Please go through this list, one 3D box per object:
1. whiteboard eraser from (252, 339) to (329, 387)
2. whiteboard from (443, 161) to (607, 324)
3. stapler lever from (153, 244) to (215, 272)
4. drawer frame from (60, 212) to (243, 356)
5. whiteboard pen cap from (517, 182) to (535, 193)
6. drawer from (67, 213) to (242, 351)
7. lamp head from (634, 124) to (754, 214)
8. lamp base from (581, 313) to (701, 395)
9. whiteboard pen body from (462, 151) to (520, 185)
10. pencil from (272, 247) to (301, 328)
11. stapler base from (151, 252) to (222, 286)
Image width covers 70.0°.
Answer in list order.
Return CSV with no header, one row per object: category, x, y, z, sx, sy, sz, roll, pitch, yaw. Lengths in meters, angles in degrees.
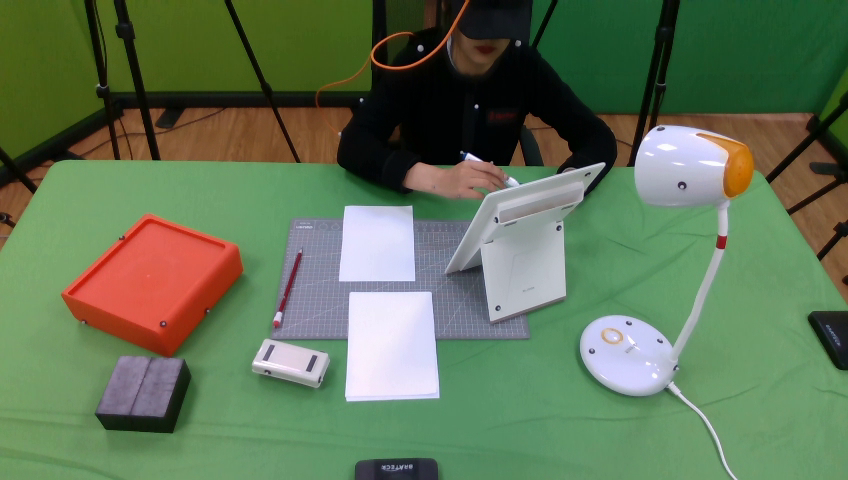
whiteboard eraser,-0.215,0.199,0.976,0.112,0.042,0.055,12,45,7
whiteboard,0.185,0.026,1.028,0.217,0.306,0.143,-15,68,-18
stapler lever,-0.430,0.025,1.088,0.118,0.040,0.027,16,33,13
drawer frame,-0.462,0.070,1.053,0.201,0.083,0.213,18,48,12
whiteboard pen cap,0.199,-0.103,1.182,0.033,0.018,0.018,13,46,-8
drawer,-0.461,0.068,1.056,0.194,0.073,0.211,19,48,13
lamp head,0.351,-0.089,0.775,0.112,0.113,0.122,-30,30,-28
lamp base,0.361,0.144,0.973,0.178,0.181,0.160,34,53,23
whiteboard pen body,0.138,-0.134,1.182,0.141,0.017,0.017,29,49,-1
pencil,-0.248,0.081,1.104,0.012,0.012,0.193,6,44,1
stapler base,-0.432,0.047,1.102,0.130,0.024,0.041,16,33,12
